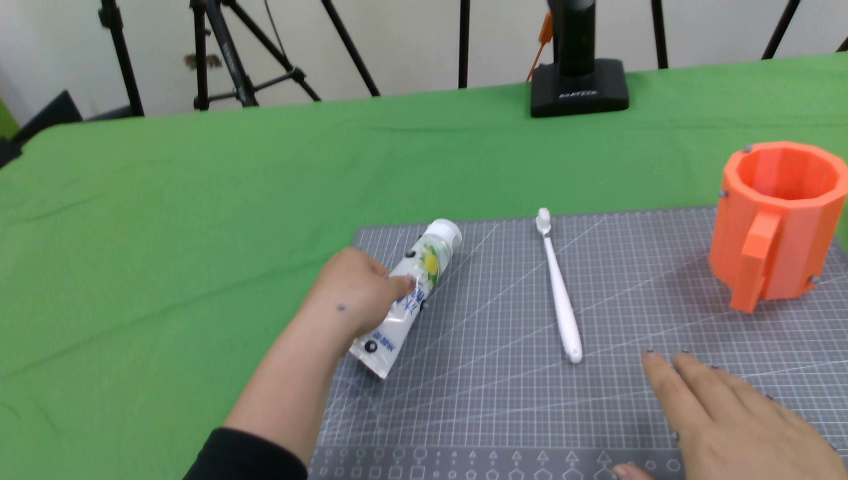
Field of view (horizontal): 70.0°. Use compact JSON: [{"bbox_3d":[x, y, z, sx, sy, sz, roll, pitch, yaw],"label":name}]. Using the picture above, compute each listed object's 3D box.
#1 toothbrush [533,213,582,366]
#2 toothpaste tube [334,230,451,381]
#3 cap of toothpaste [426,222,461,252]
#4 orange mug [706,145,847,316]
[{"bbox_3d":[0.117,0.036,0.537,0.014,0.017,0.180,4,41,-5],"label":"toothbrush"},{"bbox_3d":[-0.017,0.045,0.532,0.055,0.034,0.164,38,47,-4],"label":"toothpaste tube"},{"bbox_3d":[0.018,-0.001,0.585,0.037,0.038,0.011,9,42,25],"label":"cap of toothpaste"},{"bbox_3d":[0.269,-0.003,0.477,0.083,0.102,0.126,18,44,32],"label":"orange mug"}]
